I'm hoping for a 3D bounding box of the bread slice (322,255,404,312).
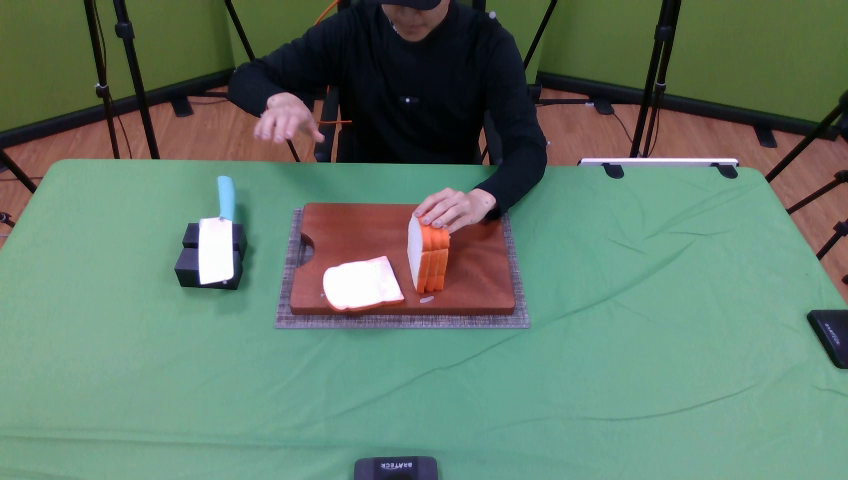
[{"bbox_3d":[-0.114,0.079,1.068,0.132,0.019,0.104,-10,51,-18],"label":"bread slice"}]

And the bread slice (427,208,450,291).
[{"bbox_3d":[0.025,0.012,1.072,0.018,0.135,0.106,-4,49,-10],"label":"bread slice"}]

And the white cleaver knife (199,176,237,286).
[{"bbox_3d":[-0.386,-0.026,1.134,0.066,0.021,0.284,-6,45,-10],"label":"white cleaver knife"}]
